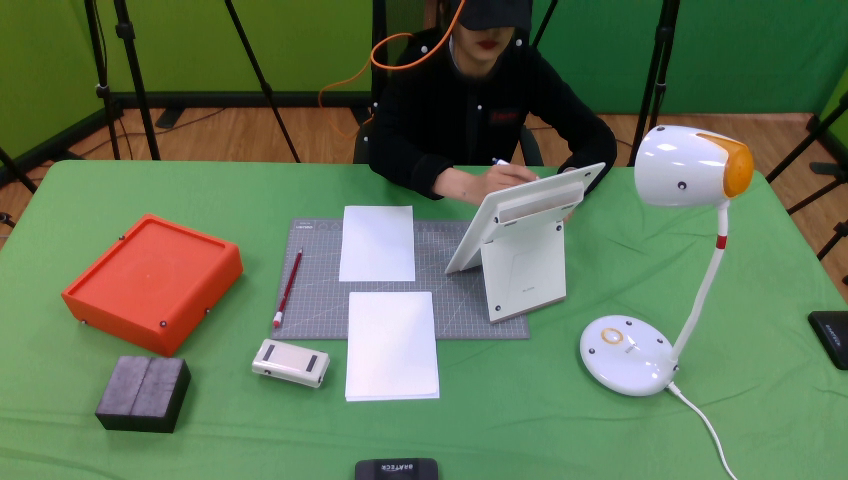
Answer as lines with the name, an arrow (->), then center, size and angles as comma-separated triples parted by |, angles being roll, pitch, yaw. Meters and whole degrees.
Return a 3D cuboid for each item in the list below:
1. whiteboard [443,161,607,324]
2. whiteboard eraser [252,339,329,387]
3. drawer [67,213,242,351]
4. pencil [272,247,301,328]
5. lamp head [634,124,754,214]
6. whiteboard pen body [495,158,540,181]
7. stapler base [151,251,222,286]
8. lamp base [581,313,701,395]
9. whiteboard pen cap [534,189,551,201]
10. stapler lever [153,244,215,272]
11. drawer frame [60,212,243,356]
whiteboard -> 0.185, 0.026, 1.028 | 0.217, 0.306, 0.143 | -15, 68, -18
whiteboard eraser -> -0.215, 0.199, 0.976 | 0.112, 0.042, 0.055 | 12, 45, 7
drawer -> -0.461, 0.068, 1.056 | 0.194, 0.073, 0.211 | 19, 48, 13
pencil -> -0.248, 0.081, 1.104 | 0.012, 0.012, 0.193 | 6, 45, 1
lamp head -> 0.351, -0.089, 0.775 | 0.112, 0.113, 0.122 | -30, 30, -28
whiteboard pen body -> 0.183, -0.111, 1.063 | 0.140, 0.017, 0.017 | 31, 52, 27
stapler base -> -0.431, 0.047, 1.102 | 0.130, 0.024, 0.041 | 17, 34, 12
lamp base -> 0.361, 0.144, 0.973 | 0.178, 0.181, 0.160 | 34, 53, 23
whiteboard pen cap -> 0.228, -0.087, 1.164 | 0.033, 0.018, 0.018 | 19, 37, -33
stapler lever -> -0.430, 0.025, 1.088 | 0.118, 0.040, 0.027 | 16, 34, 13
drawer frame -> -0.462, 0.070, 1.053 | 0.201, 0.083, 0.213 | 18, 48, 12
